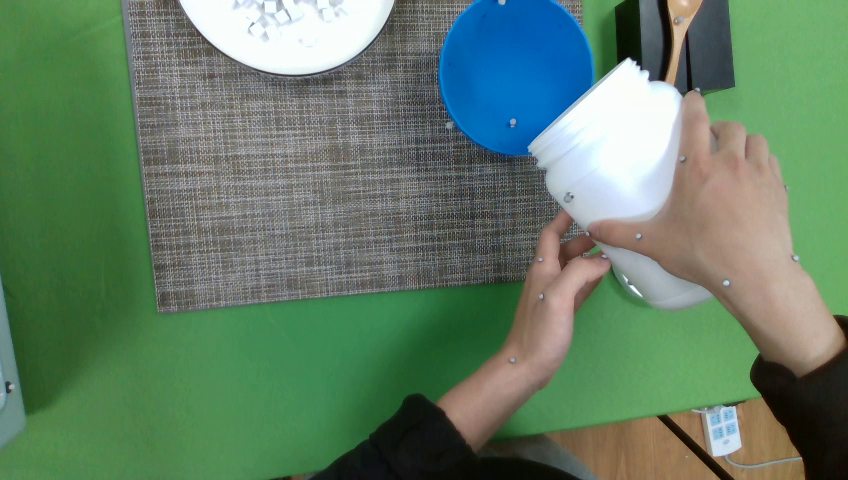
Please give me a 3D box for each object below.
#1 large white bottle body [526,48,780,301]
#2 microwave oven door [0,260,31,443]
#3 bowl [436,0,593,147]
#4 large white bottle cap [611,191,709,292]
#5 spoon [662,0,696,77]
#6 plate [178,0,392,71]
[{"bbox_3d":[0.186,-0.055,0.512,0.130,0.130,0.185,-43,93,-4],"label":"large white bottle body"},{"bbox_3d":[-0.377,0.004,0.423,0.039,0.243,0.356,-8,97,-10],"label":"microwave oven door"},{"bbox_3d":[0.078,-0.165,0.593,0.152,0.076,0.151,-1,96,-11],"label":"bowl"},{"bbox_3d":[0.266,0.002,0.681,0.115,0.018,0.115,-1,96,-12],"label":"large white bottle cap"},{"bbox_3d":[0.247,-0.188,0.610,0.042,0.021,0.194,7,99,-14],"label":"spoon"},{"bbox_3d":[-0.129,-0.260,0.564,0.210,0.038,0.209,0,93,-11],"label":"plate"}]
